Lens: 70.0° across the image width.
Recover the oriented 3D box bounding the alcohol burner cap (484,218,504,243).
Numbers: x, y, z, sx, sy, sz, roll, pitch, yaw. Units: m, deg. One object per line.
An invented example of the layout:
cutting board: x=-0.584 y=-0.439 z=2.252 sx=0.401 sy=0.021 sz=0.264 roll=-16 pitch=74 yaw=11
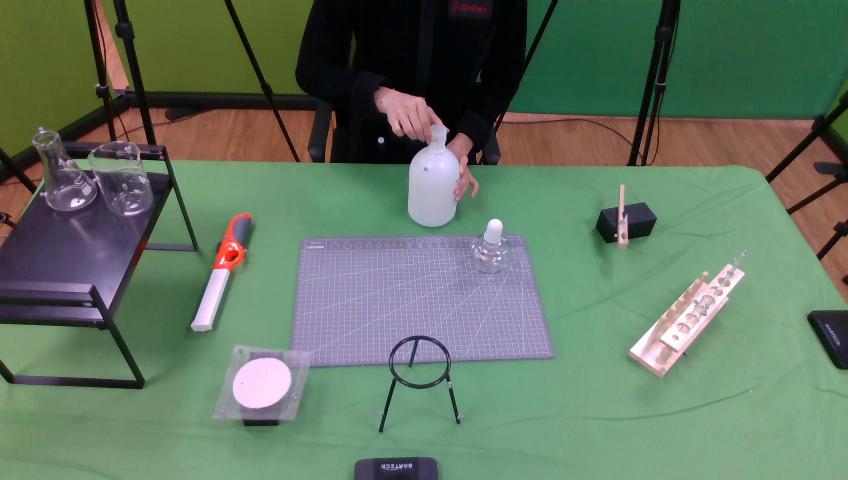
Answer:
alcohol burner cap: x=0.130 y=-0.021 z=1.106 sx=0.034 sy=0.048 sz=0.033 roll=3 pitch=51 yaw=-4

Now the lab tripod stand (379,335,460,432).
lab tripod stand: x=-0.011 y=0.214 z=0.911 sx=0.148 sy=0.132 sz=0.147 roll=1 pitch=45 yaw=0

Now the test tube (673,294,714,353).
test tube: x=0.428 y=0.137 z=0.978 sx=0.017 sy=0.151 sz=0.017 roll=4 pitch=47 yaw=-4

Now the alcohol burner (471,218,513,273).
alcohol burner: x=0.128 y=0.005 z=1.132 sx=0.078 sy=0.120 sz=0.077 roll=0 pitch=47 yaw=0

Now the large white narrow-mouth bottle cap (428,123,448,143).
large white narrow-mouth bottle cap: x=0.026 y=-0.198 z=1.119 sx=0.038 sy=0.024 sz=0.037 roll=2 pitch=46 yaw=-2

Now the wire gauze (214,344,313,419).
wire gauze: x=-0.241 y=0.213 z=0.916 sx=0.121 sy=0.011 sz=0.124 roll=5 pitch=46 yaw=1

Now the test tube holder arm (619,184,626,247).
test tube holder arm: x=0.396 y=-0.053 z=1.210 sx=0.013 sy=0.015 sz=0.177 roll=14 pitch=46 yaw=1

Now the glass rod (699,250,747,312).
glass rod: x=0.500 y=0.075 z=1.021 sx=0.008 sy=0.201 sz=0.008 roll=0 pitch=55 yaw=0

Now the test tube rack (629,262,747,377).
test tube rack: x=0.464 y=0.126 z=1.061 sx=0.242 sy=0.085 sz=0.066 roll=-34 pitch=56 yaw=-31

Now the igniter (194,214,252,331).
igniter: x=-0.367 y=0.050 z=1.119 sx=0.057 sy=0.025 sz=0.275 roll=-4 pitch=45 yaw=7

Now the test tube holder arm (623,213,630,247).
test tube holder arm: x=0.393 y=-0.020 z=1.179 sx=0.010 sy=0.015 sz=0.087 roll=14 pitch=46 yaw=1

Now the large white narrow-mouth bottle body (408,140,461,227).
large white narrow-mouth bottle body: x=0.022 y=-0.125 z=1.198 sx=0.102 sy=0.195 sz=0.101 roll=2 pitch=46 yaw=-2

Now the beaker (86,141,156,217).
beaker: x=-0.467 y=-0.093 z=0.950 sx=0.084 sy=0.101 sz=0.073 roll=15 pitch=47 yaw=11

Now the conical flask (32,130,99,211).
conical flask: x=-0.565 y=-0.110 z=0.944 sx=0.075 sy=0.122 sz=0.075 roll=2 pitch=46 yaw=-2
